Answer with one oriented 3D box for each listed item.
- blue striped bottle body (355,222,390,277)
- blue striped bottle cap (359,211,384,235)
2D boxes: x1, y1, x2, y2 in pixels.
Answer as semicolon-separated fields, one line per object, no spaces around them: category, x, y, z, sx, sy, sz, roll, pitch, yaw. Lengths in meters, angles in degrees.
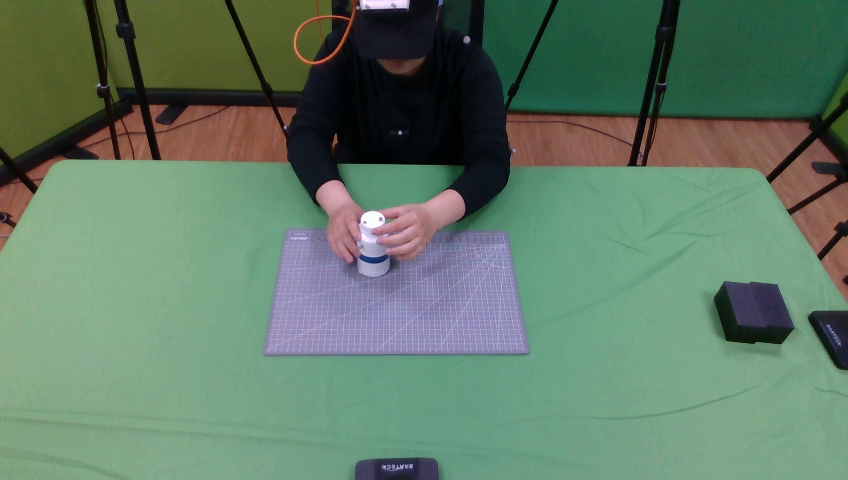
blue striped bottle body;-0.095;0.007;1.112;0.063;0.121;0.062;2;46;-2
blue striped bottle cap;-0.092;-0.031;1.073;0.044;0.021;0.044;4;48;-4
